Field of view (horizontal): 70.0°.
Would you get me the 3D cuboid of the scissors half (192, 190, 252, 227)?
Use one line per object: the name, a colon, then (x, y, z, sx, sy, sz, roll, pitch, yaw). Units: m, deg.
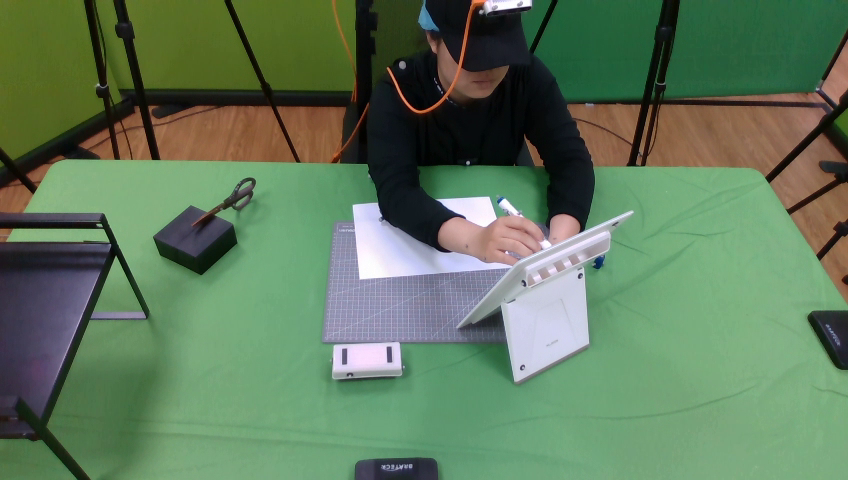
scissors half: (-0.393, -0.060, 1.187, 0.013, 0.040, 0.175, 25, 29, 12)

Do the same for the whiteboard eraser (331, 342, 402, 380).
whiteboard eraser: (-0.094, 0.198, 0.986, 0.113, 0.042, 0.055, -2, 44, -6)

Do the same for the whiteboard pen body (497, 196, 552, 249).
whiteboard pen body: (0.171, -0.019, 0.980, 0.140, 0.017, 0.017, 46, 56, 10)

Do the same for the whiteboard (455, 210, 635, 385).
whiteboard: (0.211, 0.111, 0.955, 0.217, 0.306, 0.143, -21, 71, -23)

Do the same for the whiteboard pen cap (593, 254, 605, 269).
whiteboard pen cap: (0.340, 0.042, 1.179, 0.018, 0.033, 0.018, 2, 46, -1)

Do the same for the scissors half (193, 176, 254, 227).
scissors half: (-0.388, -0.075, 1.174, 0.013, 0.040, 0.174, 29, 47, 8)
